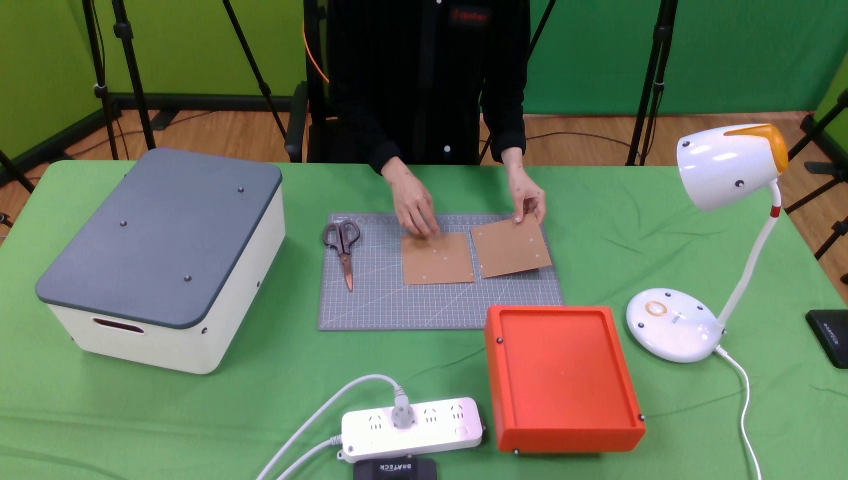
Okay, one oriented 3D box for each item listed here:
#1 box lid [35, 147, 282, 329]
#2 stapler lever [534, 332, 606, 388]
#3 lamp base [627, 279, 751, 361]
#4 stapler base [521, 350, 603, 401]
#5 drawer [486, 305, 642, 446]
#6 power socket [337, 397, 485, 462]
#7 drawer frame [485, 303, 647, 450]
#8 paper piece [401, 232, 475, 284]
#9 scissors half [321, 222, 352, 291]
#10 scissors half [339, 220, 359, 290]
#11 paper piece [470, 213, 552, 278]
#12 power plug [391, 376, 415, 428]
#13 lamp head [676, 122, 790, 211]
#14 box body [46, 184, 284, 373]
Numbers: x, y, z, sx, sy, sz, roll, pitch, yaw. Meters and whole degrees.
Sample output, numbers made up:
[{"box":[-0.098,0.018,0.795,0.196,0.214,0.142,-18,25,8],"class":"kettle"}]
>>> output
[{"box":[-0.411,-0.023,0.987,0.263,0.015,0.369,10,47,5],"class":"box lid"},{"box":[0.225,0.182,0.929,0.118,0.040,0.027,26,34,15],"class":"stapler lever"},{"box":[0.460,0.100,1.027,0.178,0.181,0.160,27,51,17],"class":"lamp base"},{"box":[0.217,0.203,0.942,0.130,0.024,0.041,26,34,16],"class":"stapler base"},{"box":[0.202,0.200,0.919,0.195,0.073,0.210,2,47,-4],"class":"drawer"},{"box":[-0.018,0.285,0.915,0.227,0.033,0.071,-4,46,-8],"class":"power socket"},{"box":[0.204,0.202,0.917,0.202,0.083,0.212,1,47,-4],"class":"drawer frame"},{"box":[0.025,0.032,1.175,0.135,0.004,0.135,0,47,-6],"class":"paper piece"},{"box":[-0.164,0.030,1.159,0.040,0.013,0.174,-15,51,-16],"class":"scissors half"},{"box":[-0.144,0.027,1.163,0.040,0.013,0.174,-5,50,-1],"class":"scissors half"},{"box":[0.167,0.010,1.189,0.136,0.009,0.137,-10,49,1],"class":"paper piece"},{"box":[-0.031,0.249,0.917,0.035,0.053,0.072,3,46,-1],"class":"power plug"},{"box":[0.423,-0.104,0.819,0.122,0.113,0.112,-13,33,40],"class":"lamp head"},{"box":[-0.414,0.029,1.040,0.254,0.161,0.362,10,46,5],"class":"box body"}]
